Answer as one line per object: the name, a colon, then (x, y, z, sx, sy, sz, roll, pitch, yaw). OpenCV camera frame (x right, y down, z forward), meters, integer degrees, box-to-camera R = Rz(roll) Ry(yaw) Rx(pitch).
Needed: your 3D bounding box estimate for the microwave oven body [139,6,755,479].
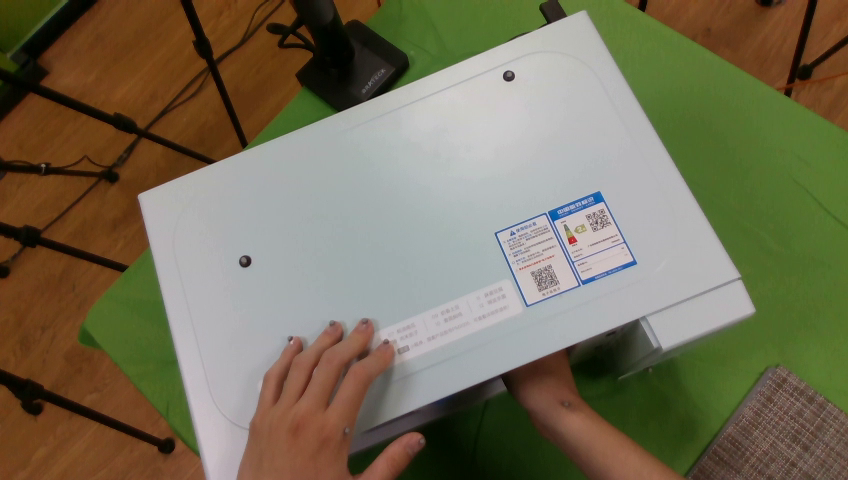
microwave oven body: (0.009, 0.028, 0.615, 0.442, 0.262, 0.323, -23, 71, 1)

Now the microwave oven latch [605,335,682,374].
microwave oven latch: (0.239, 0.119, 0.658, 0.079, 0.030, 0.030, -21, 71, 2)

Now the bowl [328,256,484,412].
bowl: (-0.018, 0.098, 0.617, 0.151, 0.077, 0.150, 1, 76, -2)

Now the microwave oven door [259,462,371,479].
microwave oven door: (0.025, 0.269, 0.531, 0.355, 0.245, 0.039, 12, 75, 11)
